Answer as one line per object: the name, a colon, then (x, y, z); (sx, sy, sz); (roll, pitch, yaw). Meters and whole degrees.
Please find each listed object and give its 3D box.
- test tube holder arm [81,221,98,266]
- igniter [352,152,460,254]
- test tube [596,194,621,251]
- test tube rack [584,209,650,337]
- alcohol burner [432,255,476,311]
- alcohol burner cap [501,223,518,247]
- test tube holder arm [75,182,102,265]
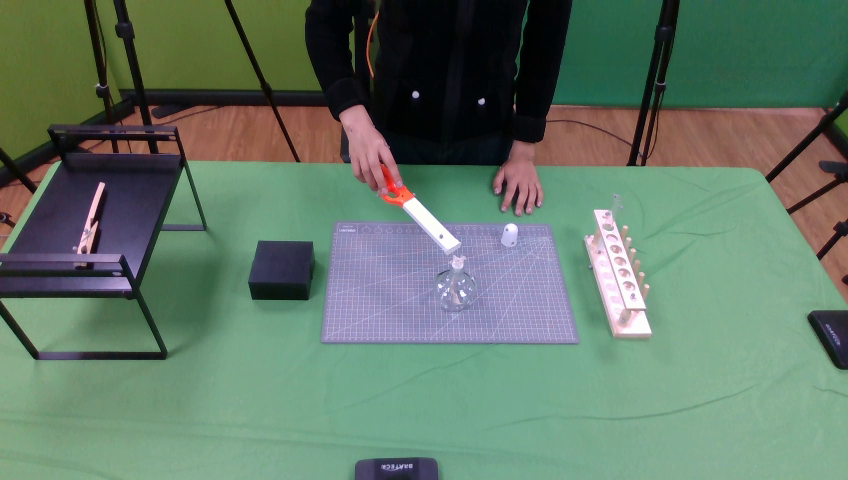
test tube holder arm: (-0.503, 0.004, 0.910); (0.010, 0.015, 0.087); (26, 32, -36)
igniter: (-0.037, -0.074, 1.097); (0.057, 0.025, 0.275); (-32, 63, -26)
test tube: (0.346, -0.029, 1.141); (0.017, 0.151, 0.017); (0, 50, 0)
test tube rack: (0.365, 0.056, 1.129); (0.067, 0.085, 0.240); (1, 46, -4)
alcohol burner: (0.055, 0.070, 1.068); (0.078, 0.119, 0.077); (3, 45, -3)
alcohol burner cap: (0.172, -0.013, 1.206); (0.034, 0.048, 0.033); (1, 45, -1)
test tube holder arm: (-0.517, -0.030, 0.937); (0.013, 0.015, 0.177); (25, 33, -37)
